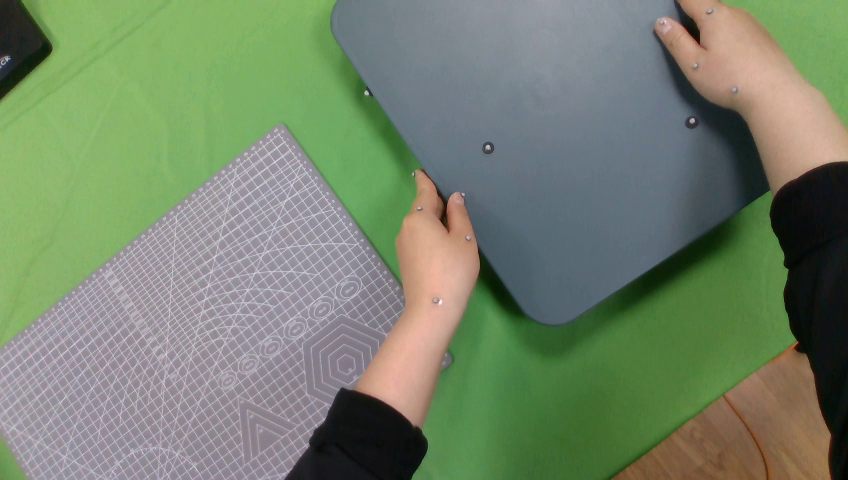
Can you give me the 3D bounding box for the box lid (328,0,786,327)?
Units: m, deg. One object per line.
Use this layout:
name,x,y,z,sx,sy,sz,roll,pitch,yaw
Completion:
box lid,0.105,-0.137,0.540,0.263,0.015,0.370,-35,83,5
